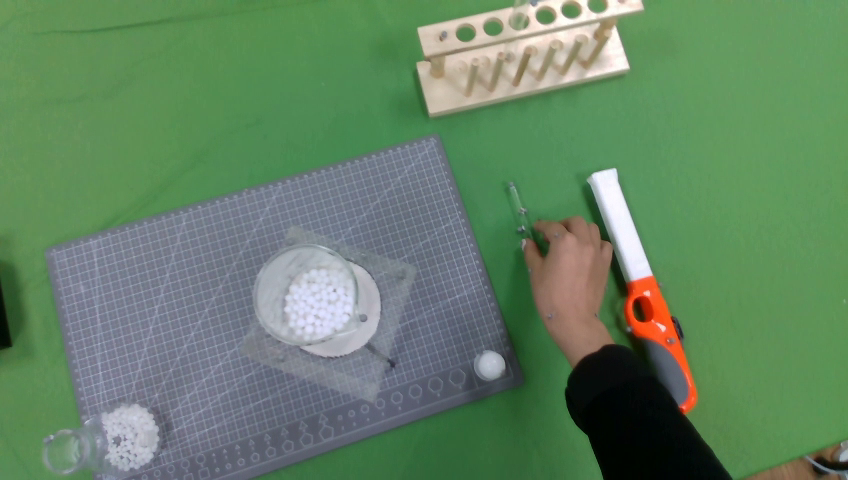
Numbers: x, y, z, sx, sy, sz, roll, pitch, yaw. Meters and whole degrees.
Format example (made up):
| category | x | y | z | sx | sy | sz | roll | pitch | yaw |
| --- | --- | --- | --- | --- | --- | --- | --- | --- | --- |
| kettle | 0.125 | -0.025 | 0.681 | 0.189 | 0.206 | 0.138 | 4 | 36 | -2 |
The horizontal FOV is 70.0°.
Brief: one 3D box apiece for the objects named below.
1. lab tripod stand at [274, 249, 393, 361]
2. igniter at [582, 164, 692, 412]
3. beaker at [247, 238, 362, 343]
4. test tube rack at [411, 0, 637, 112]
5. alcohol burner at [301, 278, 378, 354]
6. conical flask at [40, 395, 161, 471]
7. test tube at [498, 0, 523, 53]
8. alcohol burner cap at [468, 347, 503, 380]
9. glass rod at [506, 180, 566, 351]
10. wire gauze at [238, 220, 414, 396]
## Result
| category | x | y | z | sx | sy | sz | roll | pitch | yaw |
| --- | --- | --- | --- | --- | --- | --- | --- | --- | --- |
| lab tripod stand | -0.088 | 0.069 | 0.590 | 0.148 | 0.132 | 0.148 | 0 | 81 | -1 |
| igniter | 0.233 | 0.048 | 0.663 | 0.057 | 0.025 | 0.275 | -14 | 80 | -15 |
| beaker | -0.086 | 0.046 | 0.479 | 0.084 | 0.100 | 0.074 | 32 | 80 | 4 |
| test tube rack | 0.111 | -0.217 | 0.680 | 0.242 | 0.085 | 0.066 | -14 | 79 | -4 |
| alcohol burner | -0.085 | 0.074 | 0.599 | 0.078 | 0.119 | 0.077 | 0 | 80 | 0 |
| conical flask | -0.303 | 0.185 | 0.565 | 0.075 | 0.122 | 0.075 | 0 | 78 | -2 |
| test tube | 0.092 | -0.237 | 0.633 | 0.017 | 0.151 | 0.017 | 0 | 79 | 1 |
| alcohol burner cap | 0.066 | 0.126 | 0.631 | 0.034 | 0.048 | 0.033 | 2 | 72 | -7 |
| glass rod | 0.124 | 0.026 | 0.672 | 0.008 | 0.008 | 0.199 | -16 | 82 | -6 |
| wire gauze | -0.083 | 0.057 | 0.525 | 0.125 | 0.011 | 0.121 | 19 | 82 | 0 |
